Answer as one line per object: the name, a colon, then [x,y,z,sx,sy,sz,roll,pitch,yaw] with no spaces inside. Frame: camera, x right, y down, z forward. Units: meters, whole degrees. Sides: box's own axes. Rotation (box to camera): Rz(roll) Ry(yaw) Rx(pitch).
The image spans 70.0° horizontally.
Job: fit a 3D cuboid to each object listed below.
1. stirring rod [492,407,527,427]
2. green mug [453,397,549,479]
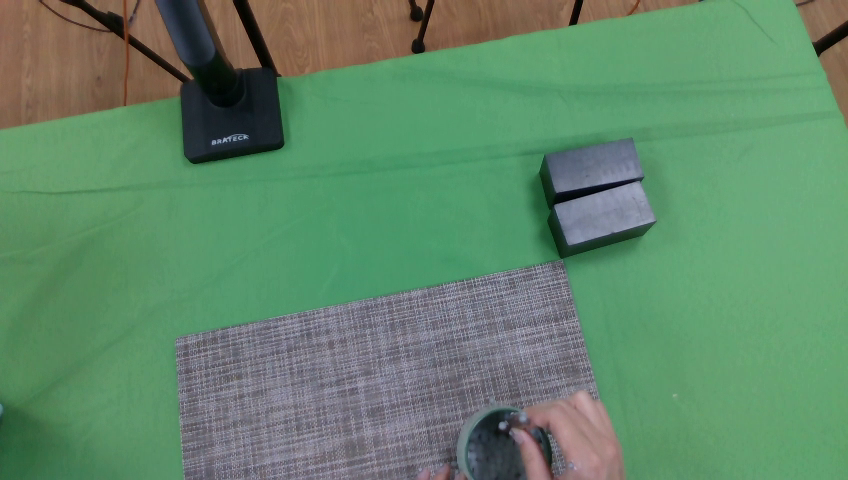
stirring rod: [0.074,0.159,0.541,0.014,0.177,0.006,13,71,6]
green mug: [0.083,0.212,0.585,0.092,0.105,0.124,-28,74,-6]
